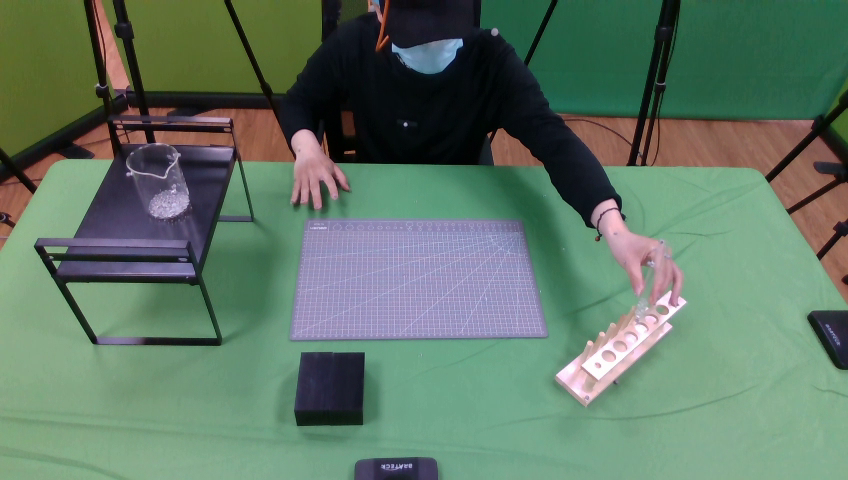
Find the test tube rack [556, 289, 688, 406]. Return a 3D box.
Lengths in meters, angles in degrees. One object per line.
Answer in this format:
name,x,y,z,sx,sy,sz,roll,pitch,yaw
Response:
test tube rack,0.333,0.165,1.014,0.242,0.085,0.066,-30,55,-28

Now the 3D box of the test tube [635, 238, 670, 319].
test tube,0.349,0.062,0.930,0.017,0.151,0.017,3,35,-2

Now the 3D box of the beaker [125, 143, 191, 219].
beaker,-0.409,-0.088,0.946,0.074,0.101,0.083,-28,54,-26
